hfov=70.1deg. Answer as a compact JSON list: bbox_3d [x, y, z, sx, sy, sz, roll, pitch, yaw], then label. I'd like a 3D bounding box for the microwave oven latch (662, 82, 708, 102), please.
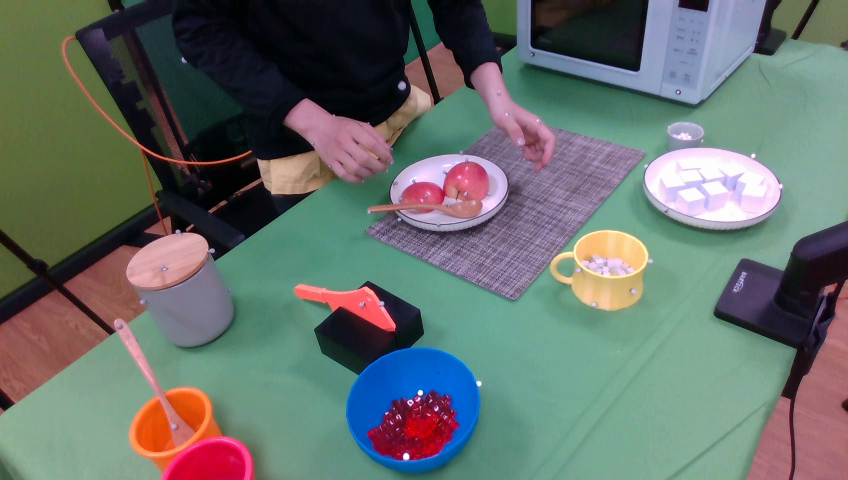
[{"bbox_3d":[0.517,-0.298,1.203,0.078,0.029,0.030,28,52,35],"label":"microwave oven latch"}]

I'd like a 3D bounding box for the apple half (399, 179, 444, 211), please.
[{"bbox_3d":[-0.003,-0.088,1.045,0.081,0.033,0.081,-2,42,2],"label":"apple half"}]

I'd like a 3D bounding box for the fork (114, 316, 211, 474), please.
[{"bbox_3d":[-0.308,0.179,0.708,0.028,0.018,0.207,-30,89,-22],"label":"fork"}]

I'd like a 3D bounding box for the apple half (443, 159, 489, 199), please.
[{"bbox_3d":[0.074,-0.110,1.047,0.080,0.053,0.075,22,47,29],"label":"apple half"}]

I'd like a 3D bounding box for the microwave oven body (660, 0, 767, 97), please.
[{"bbox_3d":[0.473,-0.517,1.313,0.438,0.261,0.327,26,51,34],"label":"microwave oven body"}]

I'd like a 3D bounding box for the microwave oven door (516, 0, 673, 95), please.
[{"bbox_3d":[0.344,-0.458,1.257,0.353,0.245,0.039,26,51,33],"label":"microwave oven door"}]

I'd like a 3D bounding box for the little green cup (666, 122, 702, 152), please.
[{"bbox_3d":[0.471,-0.184,1.102,0.061,0.039,0.061,-5,41,5],"label":"little green cup"}]

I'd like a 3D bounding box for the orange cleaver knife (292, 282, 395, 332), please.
[{"bbox_3d":[-0.116,0.091,0.835,0.209,0.077,0.012,2,32,48],"label":"orange cleaver knife"}]

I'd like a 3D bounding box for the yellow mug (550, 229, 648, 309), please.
[{"bbox_3d":[0.245,0.040,0.856,0.130,0.064,0.099,1,42,11],"label":"yellow mug"}]

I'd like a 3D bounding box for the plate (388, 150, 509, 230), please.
[{"bbox_3d":[0.044,-0.083,1.043,0.209,0.038,0.208,-4,41,4],"label":"plate"}]

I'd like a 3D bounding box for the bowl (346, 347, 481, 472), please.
[{"bbox_3d":[-0.008,0.205,0.691,0.151,0.077,0.150,-4,40,4],"label":"bowl"}]

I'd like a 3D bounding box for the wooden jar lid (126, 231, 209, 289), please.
[{"bbox_3d":[-0.340,0.030,0.809,0.108,0.021,0.108,-5,39,5],"label":"wooden jar lid"}]

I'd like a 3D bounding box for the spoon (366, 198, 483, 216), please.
[{"bbox_3d":[0.001,-0.057,0.998,0.194,0.022,0.041,2,50,-9],"label":"spoon"}]

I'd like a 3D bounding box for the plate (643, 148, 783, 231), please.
[{"bbox_3d":[0.464,-0.080,0.986,0.207,0.039,0.206,-4,41,4],"label":"plate"}]

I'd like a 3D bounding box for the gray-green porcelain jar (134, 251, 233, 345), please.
[{"bbox_3d":[-0.334,0.076,0.849,0.106,0.127,0.105,-4,41,4],"label":"gray-green porcelain jar"}]
